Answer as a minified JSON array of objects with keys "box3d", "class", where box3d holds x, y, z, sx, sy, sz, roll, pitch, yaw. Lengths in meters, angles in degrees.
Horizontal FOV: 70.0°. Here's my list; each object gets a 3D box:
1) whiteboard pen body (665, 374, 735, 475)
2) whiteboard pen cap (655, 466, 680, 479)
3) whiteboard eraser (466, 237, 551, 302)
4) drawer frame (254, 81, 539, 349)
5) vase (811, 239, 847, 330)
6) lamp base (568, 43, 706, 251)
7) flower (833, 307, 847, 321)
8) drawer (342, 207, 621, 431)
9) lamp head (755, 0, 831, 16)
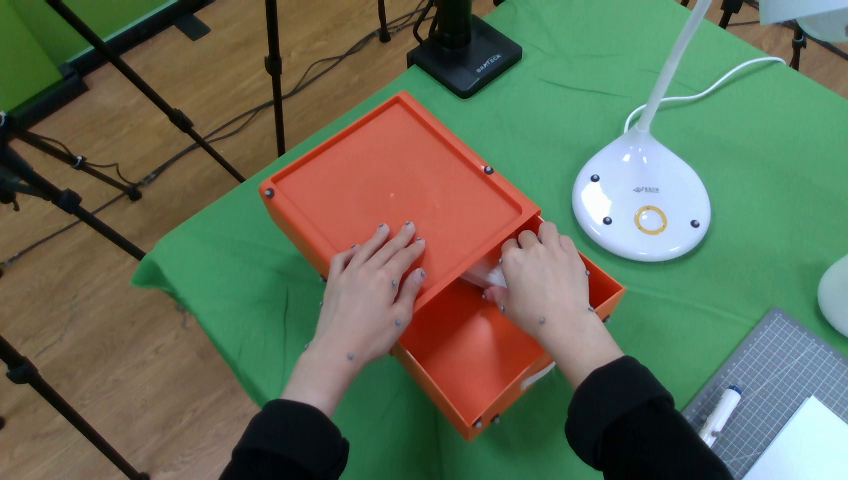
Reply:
[{"box3d":[0.261,0.186,0.583,0.017,0.017,0.140,35,69,20],"class":"whiteboard pen body"},{"box3d":[0.224,0.227,0.564,0.018,0.018,0.033,35,68,20],"class":"whiteboard pen cap"},{"box3d":[0.076,0.026,0.640,0.111,0.042,0.055,16,69,42],"class":"whiteboard eraser"},{"box3d":[-0.029,-0.032,0.631,0.201,0.083,0.212,-39,69,-17],"class":"drawer frame"},{"box3d":[0.461,0.014,0.577,0.098,0.201,0.097,-1,59,2],"class":"vase"},{"box3d":[0.248,-0.106,0.661,0.161,0.182,0.177,-9,58,-3],"class":"lamp base"},{"box3d":[0.475,-0.033,0.509,0.038,0.364,0.044,29,47,9],"class":"flower"},{"box3d":[0.044,0.040,0.591,0.194,0.074,0.210,-37,66,-17],"class":"drawer"},{"box3d":[0.268,-0.216,0.390,0.112,0.112,0.123,-16,99,-7],"class":"lamp head"}]
